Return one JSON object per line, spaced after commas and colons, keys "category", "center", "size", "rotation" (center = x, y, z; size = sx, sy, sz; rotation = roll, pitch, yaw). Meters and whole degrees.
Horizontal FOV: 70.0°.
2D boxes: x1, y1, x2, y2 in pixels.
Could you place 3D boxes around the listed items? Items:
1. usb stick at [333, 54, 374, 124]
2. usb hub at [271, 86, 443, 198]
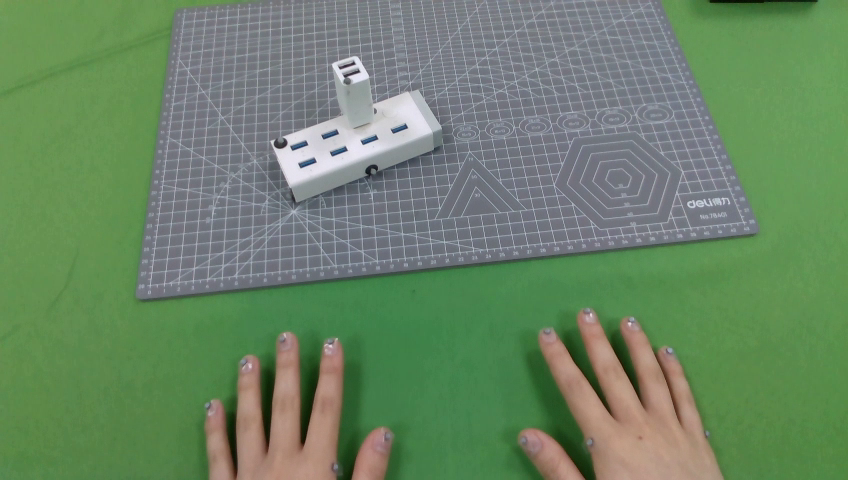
{"category": "usb stick", "center": [-0.052, -0.107, 0.454], "size": [0.021, 0.059, 0.027], "rotation": [-22, 59, -13]}
{"category": "usb hub", "center": [-0.051, -0.078, 0.472], "size": [0.125, 0.025, 0.049], "rotation": [-22, 62, -11]}
